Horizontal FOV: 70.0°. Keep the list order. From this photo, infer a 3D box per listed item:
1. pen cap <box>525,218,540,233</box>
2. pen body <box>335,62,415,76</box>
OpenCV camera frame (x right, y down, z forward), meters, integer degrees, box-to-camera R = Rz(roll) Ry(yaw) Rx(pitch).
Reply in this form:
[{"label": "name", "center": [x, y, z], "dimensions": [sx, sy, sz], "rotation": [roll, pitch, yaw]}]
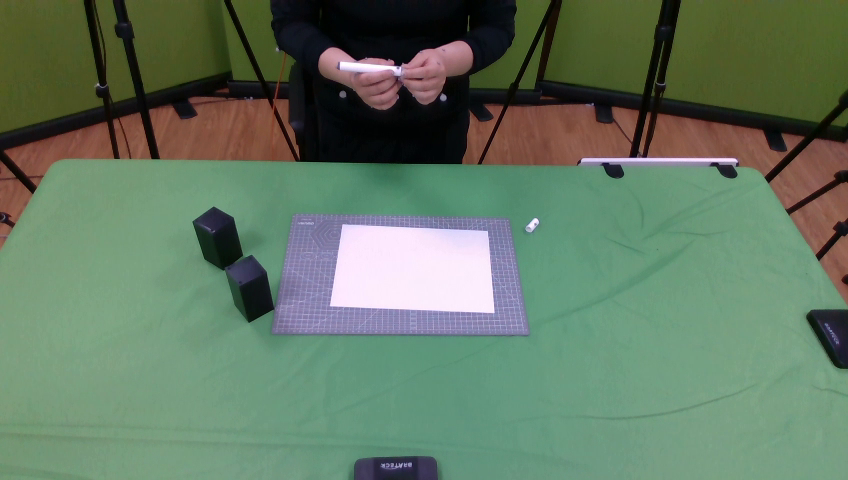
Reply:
[{"label": "pen cap", "center": [0.224, -0.031, 1.248], "dimensions": [0.017, 0.017, 0.038], "rotation": [30, 51, 23]}, {"label": "pen body", "center": [-0.088, -0.309, 1.097], "dimensions": [0.144, 0.017, 0.017], "rotation": [3, 45, -4]}]
